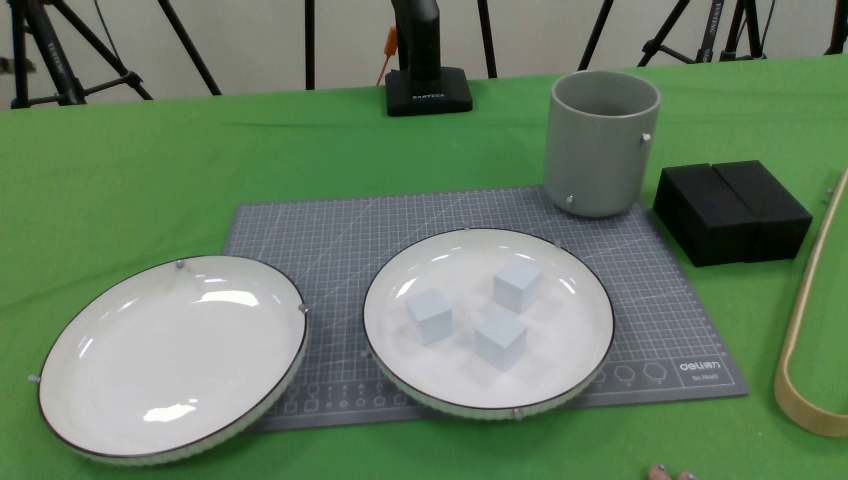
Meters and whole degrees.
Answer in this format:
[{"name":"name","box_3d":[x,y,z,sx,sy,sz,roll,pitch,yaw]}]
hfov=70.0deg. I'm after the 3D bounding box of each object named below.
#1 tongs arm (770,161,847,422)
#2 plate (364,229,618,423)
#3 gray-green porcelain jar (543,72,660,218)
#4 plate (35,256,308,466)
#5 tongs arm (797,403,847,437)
[{"name":"tongs arm","box_3d":[0.375,0.018,0.568,0.028,0.028,0.386,25,47,25]},{"name":"plate","box_3d":[0.055,0.069,0.513,0.207,0.039,0.205,-1,39,2]},{"name":"gray-green porcelain jar","box_3d":[0.180,-0.095,0.632,0.106,0.127,0.105,-2,40,2]},{"name":"plate","box_3d":[-0.197,0.094,0.496,0.209,0.038,0.207,-3,40,3]},{"name":"tongs arm","box_3d":[0.434,0.049,0.522,0.385,0.027,0.050,-32,48,-29]}]
